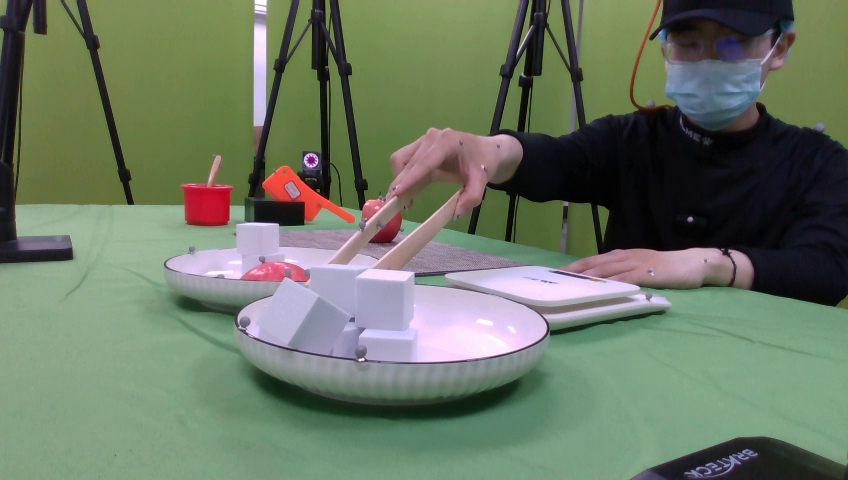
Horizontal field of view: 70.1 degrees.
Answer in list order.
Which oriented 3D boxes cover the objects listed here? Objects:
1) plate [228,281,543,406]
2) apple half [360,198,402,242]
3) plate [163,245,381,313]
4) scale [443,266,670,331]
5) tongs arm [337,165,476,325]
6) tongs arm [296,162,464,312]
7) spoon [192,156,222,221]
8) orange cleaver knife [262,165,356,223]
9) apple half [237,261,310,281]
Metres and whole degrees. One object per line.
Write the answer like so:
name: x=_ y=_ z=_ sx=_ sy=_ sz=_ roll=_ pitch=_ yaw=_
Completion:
plate: x=-0.025 y=0.067 z=0.413 sx=0.208 sy=0.039 sz=0.207 roll=3 pitch=8 yaw=0
apple half: x=-0.066 y=-0.032 z=1.014 sx=0.053 sy=0.074 sz=0.081 roll=9 pitch=6 yaw=21
plate: x=-0.145 y=0.038 z=0.600 sx=0.209 sy=0.038 sz=0.209 roll=2 pitch=8 yaw=0
scale: x=0.131 y=0.052 z=0.603 sx=0.202 sy=0.031 sz=0.148 roll=-3 pitch=9 yaw=-37
tongs arm: x=0.000 y=-0.016 z=0.596 sx=0.028 sy=0.028 sz=0.388 roll=12 pitch=23 yaw=15
tongs arm: x=-0.021 y=-0.022 z=0.601 sx=0.050 sy=0.026 sz=0.385 roll=13 pitch=24 yaw=10
spoon: x=-0.430 y=-0.108 z=1.222 sx=0.041 sy=0.021 sz=0.193 roll=-1 pitch=52 yaw=1
orange cleaver knife: x=-0.243 y=-0.081 z=1.292 sx=0.212 sy=0.077 sz=0.012 roll=34 pitch=-8 yaw=-26
apple half: x=-0.141 y=0.036 z=0.578 sx=0.081 sy=0.033 sz=0.081 roll=2 pitch=11 yaw=0
